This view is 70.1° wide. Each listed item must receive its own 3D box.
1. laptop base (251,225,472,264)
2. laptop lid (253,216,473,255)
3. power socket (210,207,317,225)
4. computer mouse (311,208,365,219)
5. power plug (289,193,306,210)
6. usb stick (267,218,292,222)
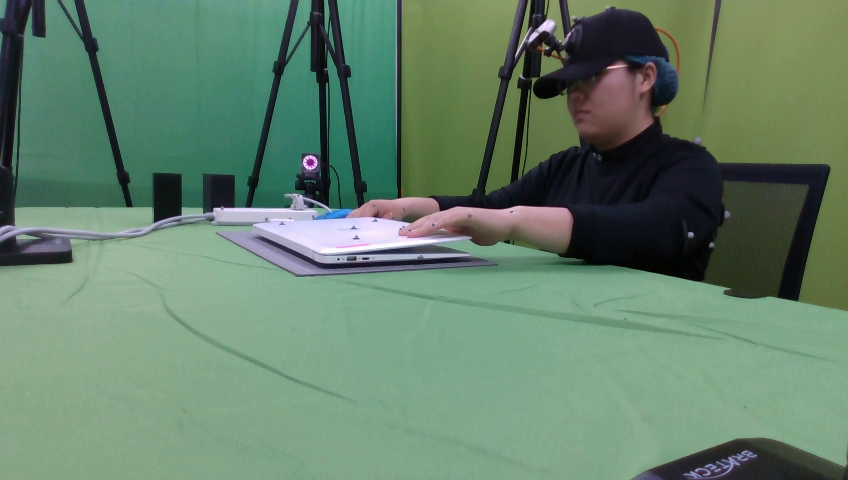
[{"bbox_3d":[-0.116,0.007,0.955,0.237,0.023,0.352,3,6,-31],"label":"laptop base"},{"bbox_3d":[-0.113,-0.013,0.954,0.243,0.013,0.355,-4,10,-28],"label":"laptop lid"},{"bbox_3d":[-0.335,-0.051,1.282,0.228,0.032,0.072,-1,9,-28],"label":"power socket"},{"bbox_3d":[-0.179,-0.045,1.274,0.118,0.041,0.062,-6,13,-29],"label":"computer mouse"},{"bbox_3d":[-0.281,-0.076,1.340,0.035,0.052,0.072,4,5,-17],"label":"power plug"},{"bbox_3d":[-0.272,-0.026,1.107,0.059,0.027,0.021,-4,11,-27],"label":"usb stick"}]
